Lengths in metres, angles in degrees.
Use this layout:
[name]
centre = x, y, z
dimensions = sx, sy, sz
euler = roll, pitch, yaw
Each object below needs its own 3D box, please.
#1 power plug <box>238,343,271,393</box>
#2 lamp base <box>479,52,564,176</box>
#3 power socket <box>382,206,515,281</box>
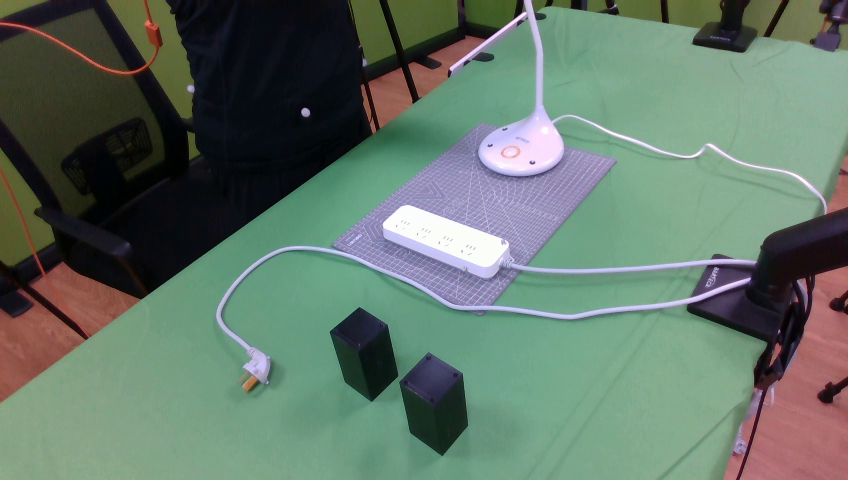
[power plug]
centre = -0.230, 0.172, 0.801
dimensions = 0.072, 0.035, 0.053
euler = 8, 50, 50
[lamp base]
centre = 0.181, -0.235, 1.094
dimensions = 0.159, 0.181, 0.179
euler = 18, 44, 27
[power socket]
centre = 0.032, 0.002, 0.950
dimensions = 0.225, 0.033, 0.072
euler = 21, 49, 29
